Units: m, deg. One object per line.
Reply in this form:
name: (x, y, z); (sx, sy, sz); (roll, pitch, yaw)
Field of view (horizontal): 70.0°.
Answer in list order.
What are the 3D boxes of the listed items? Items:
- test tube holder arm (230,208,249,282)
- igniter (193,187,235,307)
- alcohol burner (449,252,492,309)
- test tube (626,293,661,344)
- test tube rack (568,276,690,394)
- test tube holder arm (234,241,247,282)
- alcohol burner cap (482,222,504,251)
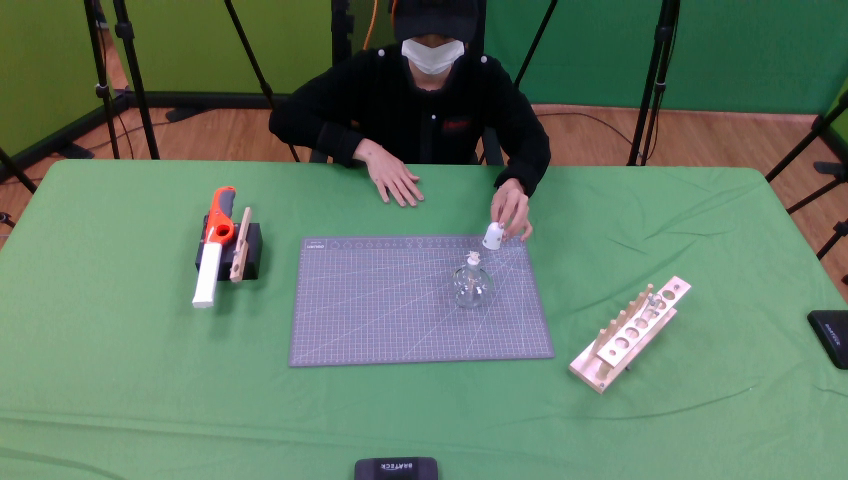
test tube holder arm: (-0.335, 0.006, 1.103); (0.013, 0.015, 0.177); (-7, 46, -2)
igniter: (-0.378, 0.003, 1.096); (0.057, 0.025, 0.274); (-1, 49, -6)
alcohol burner: (0.084, 0.066, 1.074); (0.078, 0.120, 0.077); (1, 44, -1)
test tube: (0.355, 0.133, 0.984); (0.017, 0.151, 0.017); (1, 52, 0)
test tube rack: (0.354, 0.149, 1.039); (0.242, 0.085, 0.066); (-34, 56, -31)
test tube holder arm: (-0.324, 0.037, 1.072); (0.010, 0.015, 0.087); (-6, 46, -1)
alcohol burner cap: (0.121, -0.008, 1.050); (0.034, 0.048, 0.033); (9, 35, -6)
